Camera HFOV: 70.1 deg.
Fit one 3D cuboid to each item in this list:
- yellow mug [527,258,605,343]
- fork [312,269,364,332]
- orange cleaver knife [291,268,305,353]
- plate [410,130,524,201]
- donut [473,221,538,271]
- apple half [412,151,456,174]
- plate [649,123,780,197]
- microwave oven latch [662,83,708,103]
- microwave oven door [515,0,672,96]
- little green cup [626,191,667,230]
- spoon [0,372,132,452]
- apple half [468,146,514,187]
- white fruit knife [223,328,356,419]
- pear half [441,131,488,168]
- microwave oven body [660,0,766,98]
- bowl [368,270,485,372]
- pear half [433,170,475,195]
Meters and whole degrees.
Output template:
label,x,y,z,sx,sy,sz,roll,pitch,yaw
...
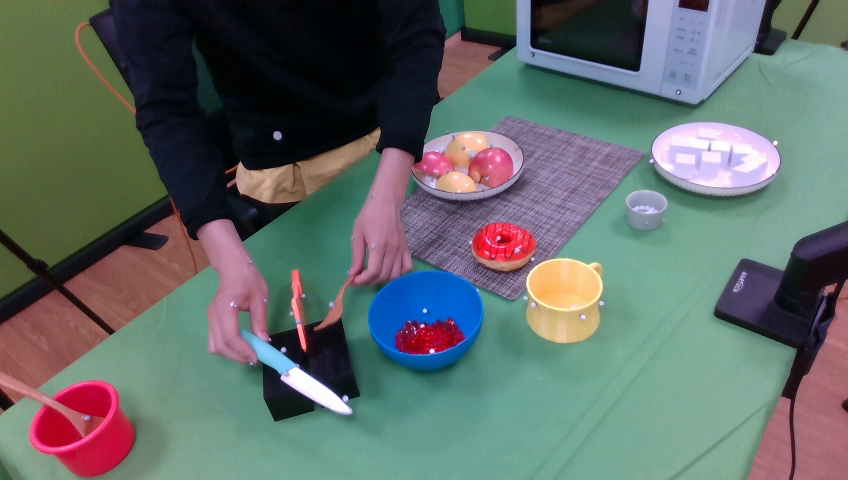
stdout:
label,x,y,z,sx,sy,sz,roll,pitch,yaw
yellow mug,0.202,0.073,0.824,0.131,0.064,0.099,-32,46,-27
fork,-0.111,0.078,0.823,0.028,0.018,0.207,-1,21,9
orange cleaver knife,-0.175,0.093,0.844,0.012,0.077,0.210,-11,15,-10
plate,0.078,-0.133,1.101,0.209,0.038,0.208,-4,40,4
donut,0.124,0.008,0.923,0.099,0.048,0.098,-3,38,3
apple half,0.022,-0.144,1.097,0.081,0.033,0.081,6,22,-2
plate,0.497,-0.134,1.046,0.207,0.039,0.206,-4,40,4
microwave oven latch,0.518,-0.296,1.204,0.078,0.029,0.030,27,52,35
microwave oven door,0.344,-0.454,1.259,0.353,0.245,0.039,26,51,33
little green cup,0.352,-0.046,0.963,0.061,0.039,0.061,-4,40,4
spoon,-0.439,0.195,0.715,0.195,0.021,0.041,37,40,-16
apple half,0.119,-0.137,1.073,0.080,0.053,0.075,26,49,38
white fruit knife,-0.164,0.160,0.737,0.206,0.016,0.027,27,77,21
pear half,0.064,-0.174,1.129,0.110,0.056,0.076,-7,36,5
microwave oven body,0.472,-0.513,1.317,0.438,0.261,0.327,26,51,34
bowl,0.007,0.118,0.791,0.151,0.077,0.150,-5,40,4
pear half,0.052,-0.105,1.051,0.071,0.031,0.087,-5,31,-28
